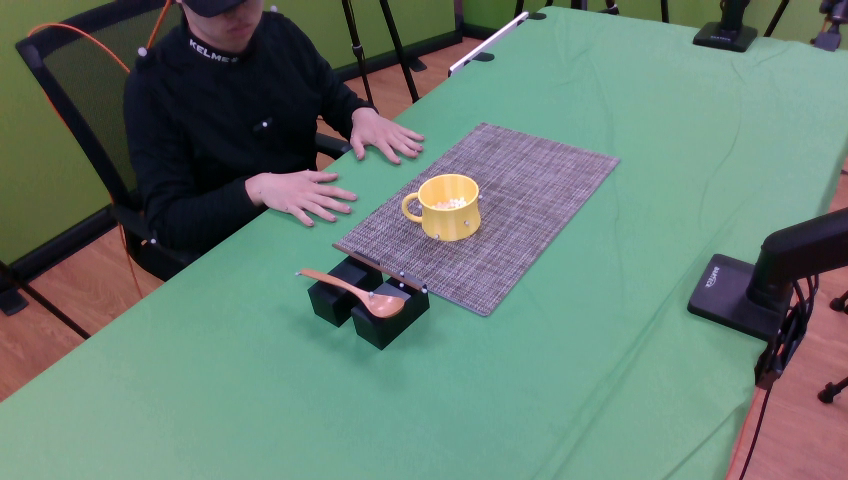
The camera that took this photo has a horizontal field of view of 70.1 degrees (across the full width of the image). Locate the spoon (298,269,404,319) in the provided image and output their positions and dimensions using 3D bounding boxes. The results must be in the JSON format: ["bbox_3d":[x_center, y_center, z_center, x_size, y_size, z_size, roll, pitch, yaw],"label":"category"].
[{"bbox_3d":[-0.106,0.068,0.831,0.192,0.022,0.042,21,49,32],"label":"spoon"}]

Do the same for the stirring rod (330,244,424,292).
[{"bbox_3d":[-0.070,0.038,0.864,0.175,0.006,0.014,24,12,31],"label":"stirring rod"}]

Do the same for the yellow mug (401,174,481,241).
[{"bbox_3d":[0.026,-0.054,0.988,0.130,0.064,0.099,-1,40,8],"label":"yellow mug"}]
